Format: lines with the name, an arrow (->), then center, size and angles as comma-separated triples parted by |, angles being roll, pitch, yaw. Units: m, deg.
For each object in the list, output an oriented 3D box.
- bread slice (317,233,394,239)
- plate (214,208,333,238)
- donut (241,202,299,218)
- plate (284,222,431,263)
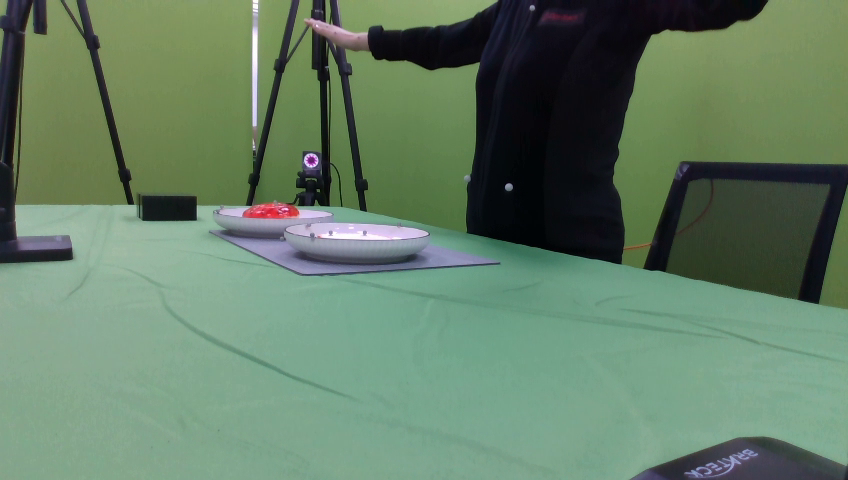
bread slice -> -0.096, 0.004, 0.863 | 0.107, 0.018, 0.133 | -1, 7, -31
plate -> -0.268, -0.032, 1.085 | 0.208, 0.039, 0.207 | 2, 7, 0
donut -> -0.270, -0.040, 1.058 | 0.099, 0.048, 0.099 | 0, 11, 0
plate -> -0.094, 0.003, 0.868 | 0.209, 0.038, 0.209 | 2, 7, 0
